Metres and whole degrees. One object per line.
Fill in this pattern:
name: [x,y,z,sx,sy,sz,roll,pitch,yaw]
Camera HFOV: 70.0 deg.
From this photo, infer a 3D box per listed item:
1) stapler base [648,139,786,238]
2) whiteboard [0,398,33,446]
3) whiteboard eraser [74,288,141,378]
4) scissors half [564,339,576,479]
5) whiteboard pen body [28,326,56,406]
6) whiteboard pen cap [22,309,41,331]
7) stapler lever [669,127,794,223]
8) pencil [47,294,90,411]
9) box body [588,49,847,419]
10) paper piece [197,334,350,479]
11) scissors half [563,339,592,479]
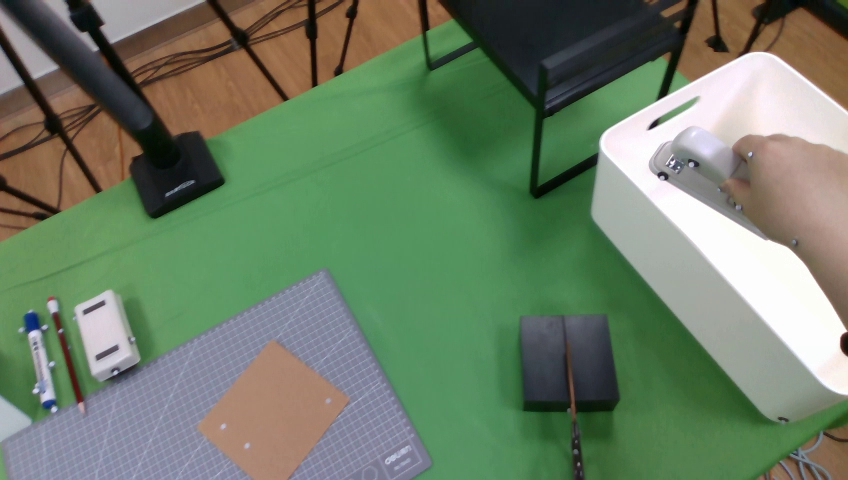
stapler base: [0.276,-0.054,0.566,0.130,0.024,0.041,34,82,12]
whiteboard: [-0.648,0.140,0.688,0.217,0.309,0.142,-29,42,-9]
whiteboard eraser: [-0.411,0.121,0.788,0.055,0.042,0.111,-30,62,-9]
scissors half: [0.160,0.196,0.660,0.013,0.040,0.174,0,79,-5]
whiteboard pen body: [-0.503,0.155,0.793,0.017,0.017,0.139,-28,61,-9]
whiteboard pen cap: [-0.530,0.111,0.820,0.018,0.018,0.033,-30,61,-10]
stapler lever: [0.276,-0.060,0.542,0.117,0.040,0.027,34,82,12]
pencil: [-0.468,0.145,0.798,0.012,0.012,0.192,-32,62,-11]
box body: [0.393,-0.011,0.698,0.254,0.162,0.360,-30,62,-9]
paper piece: [-0.183,0.204,0.731,0.137,0.009,0.135,33,73,20]
scissors half: [0.160,0.189,0.642,0.013,0.040,0.173,-3,62,0]
